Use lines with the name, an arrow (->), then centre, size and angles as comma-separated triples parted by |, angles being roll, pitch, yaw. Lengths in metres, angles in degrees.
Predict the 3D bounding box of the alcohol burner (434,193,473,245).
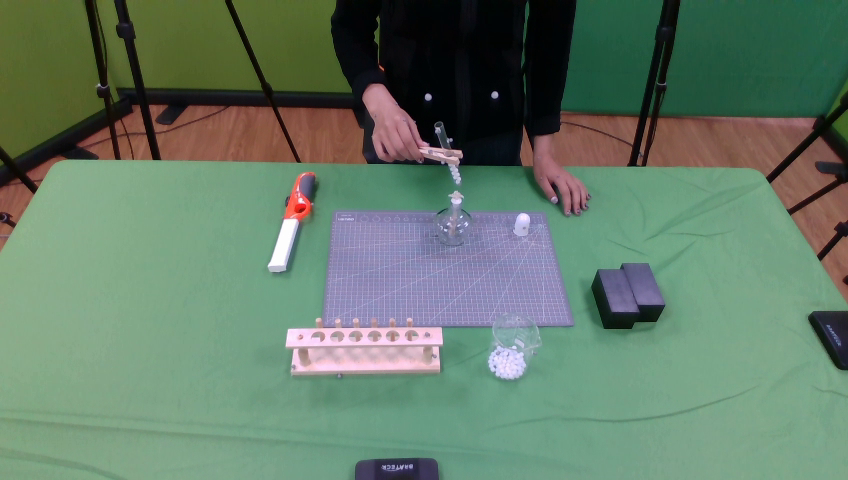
alcohol burner -> 0.059, -0.047, 1.180 | 0.078, 0.120, 0.077 | 1, 48, -1

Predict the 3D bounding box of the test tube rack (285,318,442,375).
test tube rack -> -0.095, 0.167, 0.986 | 0.242, 0.085, 0.066 | 0, 46, -4

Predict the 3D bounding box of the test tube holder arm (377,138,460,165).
test tube holder arm -> -0.014, -0.162, 1.098 | 0.177, 0.015, 0.013 | 17, 57, 29

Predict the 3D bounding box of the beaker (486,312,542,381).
beaker -> 0.144, 0.177, 0.985 | 0.084, 0.101, 0.074 | 22, 49, 16

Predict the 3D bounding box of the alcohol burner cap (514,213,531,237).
alcohol burner cap -> 0.200, -0.034, 1.227 | 0.034, 0.048, 0.033 | 1, 46, -1

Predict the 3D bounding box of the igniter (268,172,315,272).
igniter -> -0.263, -0.045, 1.219 | 0.057, 0.025, 0.275 | -2, 45, 8

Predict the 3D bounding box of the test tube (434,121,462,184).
test tube -> 0.044, -0.150, 1.064 | 0.017, 0.151, 0.017 | -10, 52, 13

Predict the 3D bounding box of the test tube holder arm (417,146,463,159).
test tube holder arm -> 0.027, -0.156, 1.079 | 0.087, 0.015, 0.010 | 10, 54, 25
